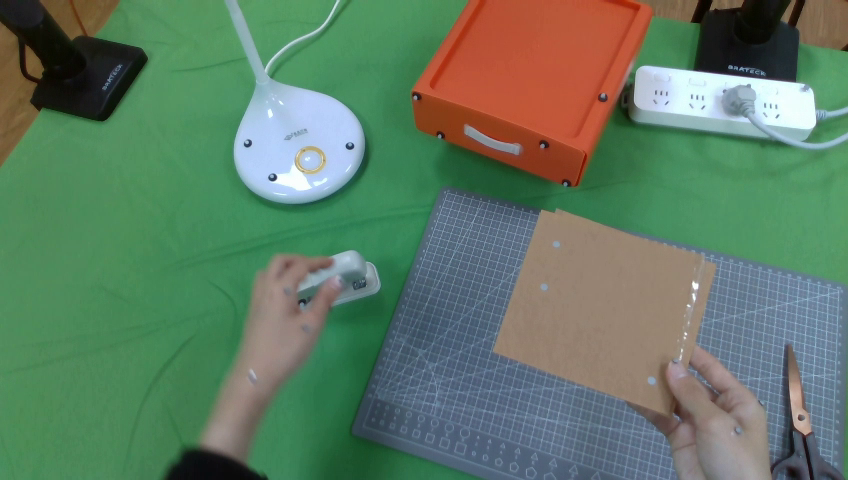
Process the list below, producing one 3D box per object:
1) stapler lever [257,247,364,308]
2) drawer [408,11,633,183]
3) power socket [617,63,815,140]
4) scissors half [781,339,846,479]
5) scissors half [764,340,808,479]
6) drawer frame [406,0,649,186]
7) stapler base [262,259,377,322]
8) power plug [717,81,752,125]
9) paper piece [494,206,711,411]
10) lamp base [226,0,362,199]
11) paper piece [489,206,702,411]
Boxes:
[{"bbox_3d":[-0.121,0.038,0.636,0.118,0.040,0.026,-17,60,-3],"label":"stapler lever"},{"bbox_3d":[0.115,-0.191,0.683,0.193,0.074,0.211,23,66,15],"label":"drawer"},{"bbox_3d":[0.353,-0.169,0.734,0.226,0.033,0.071,9,65,8],"label":"power socket"},{"bbox_3d":[0.363,0.177,0.573,0.040,0.013,0.173,0,62,-2],"label":"scissors half"},{"bbox_3d":[0.343,0.174,0.573,0.040,0.013,0.174,18,62,1],"label":"scissors half"},{"bbox_3d":[0.117,-0.195,0.688,0.201,0.083,0.212,23,68,14],"label":"drawer frame"},{"bbox_3d":[-0.117,0.050,0.659,0.130,0.024,0.041,-17,61,-4],"label":"stapler base"},{"bbox_3d":[0.355,-0.152,0.700,0.035,0.053,0.072,19,67,12],"label":"power plug"},{"bbox_3d":[0.145,0.048,0.490,0.134,0.004,0.135,23,69,21],"label":"paper piece"},{"bbox_3d":[-0.169,-0.162,0.678,0.160,0.182,0.177,-36,64,-14],"label":"lamp base"},{"bbox_3d":[0.137,0.047,0.477,0.135,0.009,0.137,17,68,14],"label":"paper piece"}]
